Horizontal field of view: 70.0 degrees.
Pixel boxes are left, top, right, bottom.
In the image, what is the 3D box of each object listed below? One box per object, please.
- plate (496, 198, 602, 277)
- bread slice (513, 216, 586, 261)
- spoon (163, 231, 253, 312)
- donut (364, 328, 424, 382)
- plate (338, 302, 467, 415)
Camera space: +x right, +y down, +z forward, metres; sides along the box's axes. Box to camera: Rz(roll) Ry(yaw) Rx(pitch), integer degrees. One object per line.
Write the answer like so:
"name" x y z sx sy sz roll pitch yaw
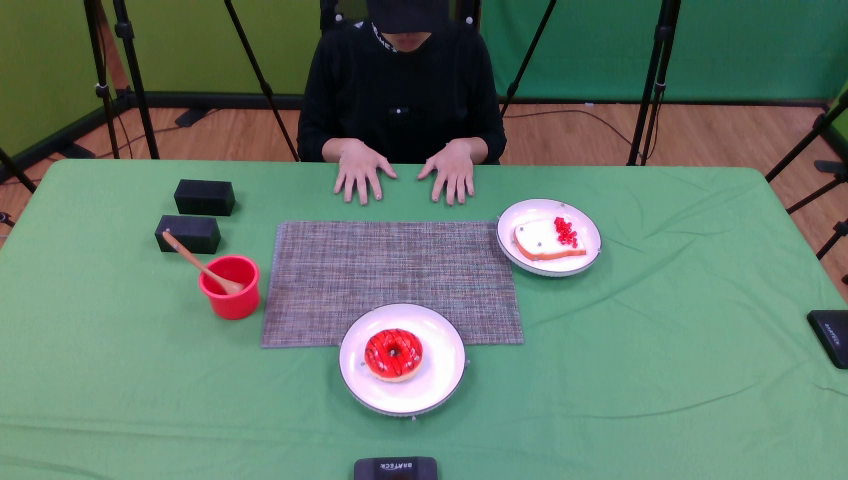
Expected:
"plate" 0.246 -0.002 1.205 0.209 0.038 0.208 2 46 -2
"bread slice" 0.247 -0.003 1.210 0.132 0.019 0.104 -9 47 -14
"spoon" -0.364 0.054 1.025 0.194 0.021 0.041 43 49 -17
"donut" -0.049 0.185 0.983 0.099 0.048 0.098 1 45 -1
"plate" -0.035 0.194 0.992 0.208 0.039 0.206 2 48 -2
